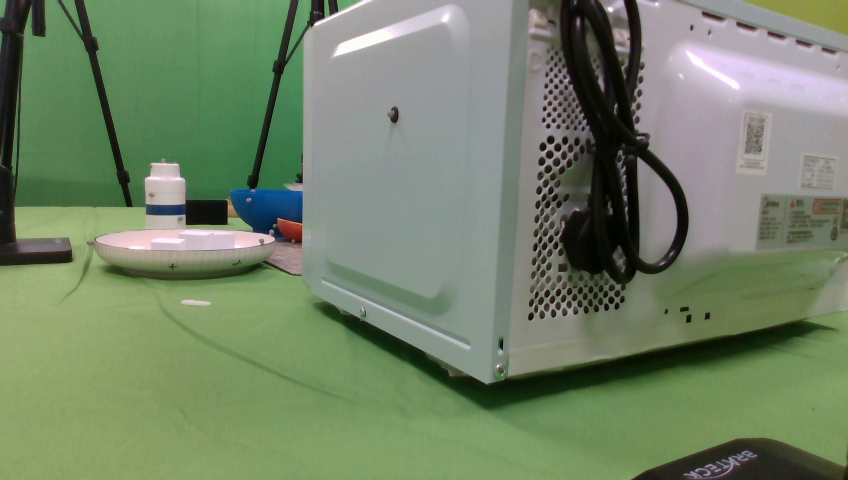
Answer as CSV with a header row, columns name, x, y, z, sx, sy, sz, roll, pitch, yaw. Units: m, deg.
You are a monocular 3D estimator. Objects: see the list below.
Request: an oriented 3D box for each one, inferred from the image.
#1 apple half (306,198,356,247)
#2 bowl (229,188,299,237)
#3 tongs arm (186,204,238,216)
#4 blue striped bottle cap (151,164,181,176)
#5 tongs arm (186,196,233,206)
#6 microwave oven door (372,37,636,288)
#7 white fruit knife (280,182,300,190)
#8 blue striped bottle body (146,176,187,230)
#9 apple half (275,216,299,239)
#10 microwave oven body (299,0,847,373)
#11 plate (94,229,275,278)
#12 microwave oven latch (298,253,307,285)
name,x,y,z,sx,sy,sz,roll,pitch,yaw
apple half,-0.137,-0.025,0.939,0.053,0.074,0.081,15,17,35
bowl,-0.265,-0.048,1.066,0.151,0.077,0.151,3,8,0
tongs arm,-0.396,-0.067,1.399,0.389,0.028,0.028,1,5,-15
blue striped bottle cap,-0.428,-0.116,1.002,0.044,0.020,0.044,1,6,0
tongs arm,-0.404,-0.081,1.479,0.385,0.026,0.050,3,8,-2
microwave oven door,0.110,-0.080,0.686,0.358,0.243,0.039,-2,9,-33
white fruit knife,-0.205,-0.106,1.277,0.208,0.027,0.016,5,13,-35
blue striped bottle body,-0.430,-0.065,1.010,0.063,0.120,0.063,2,7,0
apple half,-0.201,-0.017,0.983,0.081,0.033,0.081,10,4,0
microwave oven body,0.151,-0.055,0.542,0.444,0.260,0.324,-2,7,-33
plate,-0.291,0.016,0.750,0.208,0.039,0.207,2,7,0
microwave oven latch,-0.081,0.027,0.582,0.079,0.029,0.030,-2,7,-33
